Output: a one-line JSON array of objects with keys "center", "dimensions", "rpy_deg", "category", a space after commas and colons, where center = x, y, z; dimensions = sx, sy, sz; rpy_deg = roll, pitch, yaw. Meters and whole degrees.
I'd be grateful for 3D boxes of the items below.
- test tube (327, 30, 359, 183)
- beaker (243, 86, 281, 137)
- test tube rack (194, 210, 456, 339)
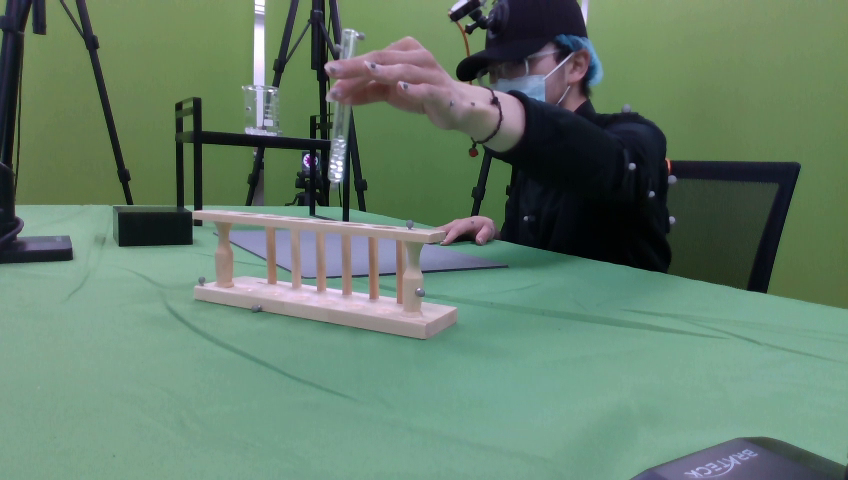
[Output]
[{"center": [-0.079, -0.130, 0.590], "dimensions": [0.017, 0.150, 0.017], "rpy_deg": [6, -3, 1], "category": "test tube"}, {"center": [-0.338, -0.265, 1.252], "dimensions": [0.073, 0.100, 0.084], "rpy_deg": [7, 9, 38], "category": "beaker"}, {"center": [-0.093, 0.023, 0.546], "dimensions": [0.241, 0.085, 0.067], "rpy_deg": [6, 8, 25], "category": "test tube rack"}]
